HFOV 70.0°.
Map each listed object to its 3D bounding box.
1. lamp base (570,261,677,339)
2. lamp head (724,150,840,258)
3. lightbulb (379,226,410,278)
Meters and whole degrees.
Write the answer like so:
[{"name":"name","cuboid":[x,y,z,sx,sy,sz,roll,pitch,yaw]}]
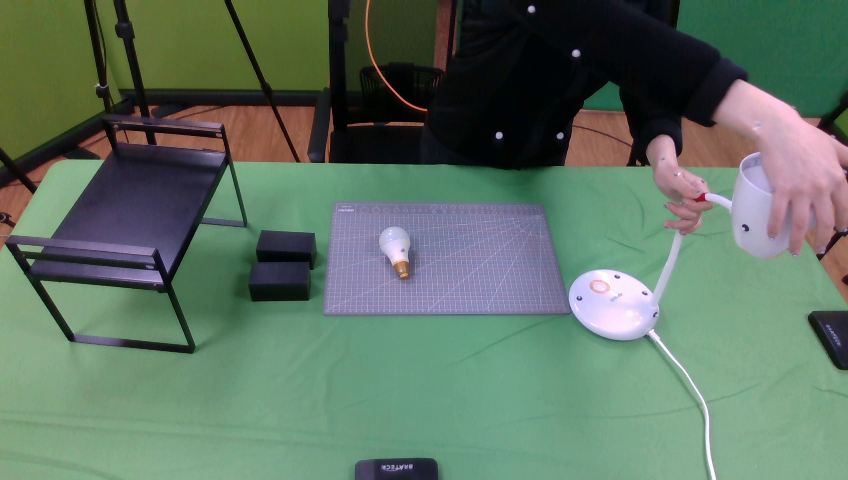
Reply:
[{"name":"lamp base","cuboid":[0.360,0.068,1.047,0.178,0.181,0.160,37,55,25]},{"name":"lamp head","cuboid":[0.441,-0.041,0.774,0.112,0.123,0.111,1,45,-1]},{"name":"lightbulb","cuboid":[-0.051,0.024,1.147,0.059,0.060,0.107,-11,63,-14]}]
